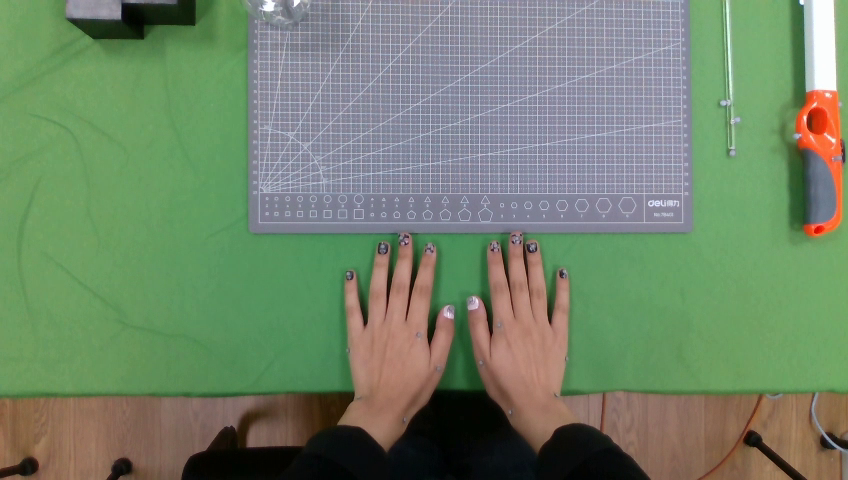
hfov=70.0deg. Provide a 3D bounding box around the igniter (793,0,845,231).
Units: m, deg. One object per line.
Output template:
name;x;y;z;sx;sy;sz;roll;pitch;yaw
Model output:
igniter;0.407;-0.147;0.625;0.057;0.025;0.276;0;89;-14

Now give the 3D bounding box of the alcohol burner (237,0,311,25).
alcohol burner;-0.141;-0.244;0.550;0.078;0.119;0.078;0;89;-1

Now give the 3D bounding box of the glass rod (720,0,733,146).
glass rod;0.314;-0.197;0.630;0.008;0.008;0.199;-2;89;-3
